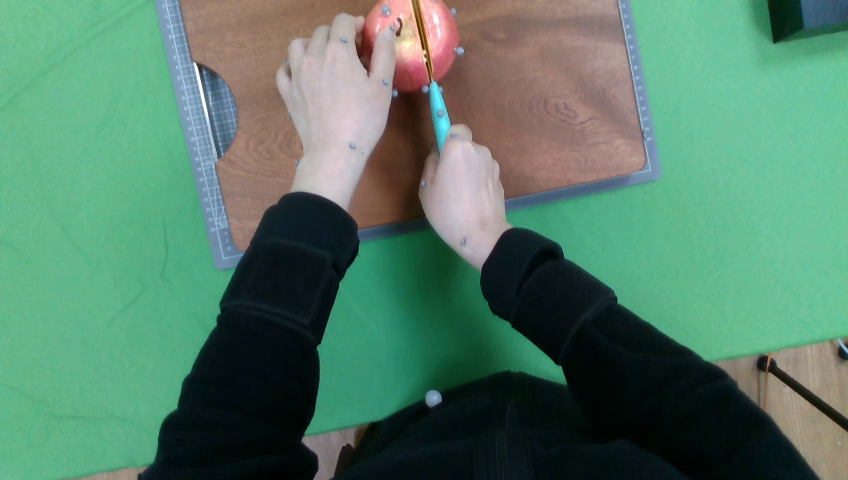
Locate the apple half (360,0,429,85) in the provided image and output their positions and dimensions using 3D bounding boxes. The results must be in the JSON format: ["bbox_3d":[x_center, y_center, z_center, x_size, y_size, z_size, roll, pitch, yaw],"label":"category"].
[{"bbox_3d":[-0.028,-0.174,0.529,0.053,0.074,0.081,-14,96,7],"label":"apple half"}]

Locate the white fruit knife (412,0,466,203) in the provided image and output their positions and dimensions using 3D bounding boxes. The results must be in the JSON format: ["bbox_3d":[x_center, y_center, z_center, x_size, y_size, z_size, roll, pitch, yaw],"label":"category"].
[{"bbox_3d":[0.007,-0.134,0.531,0.016,0.027,0.207,-14,95,-5],"label":"white fruit knife"}]

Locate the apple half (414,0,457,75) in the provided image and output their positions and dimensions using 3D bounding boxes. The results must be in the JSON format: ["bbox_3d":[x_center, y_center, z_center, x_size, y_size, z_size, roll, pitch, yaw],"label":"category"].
[{"bbox_3d":[0.011,-0.184,0.529,0.033,0.081,0.081,-13,93,-2],"label":"apple half"}]
